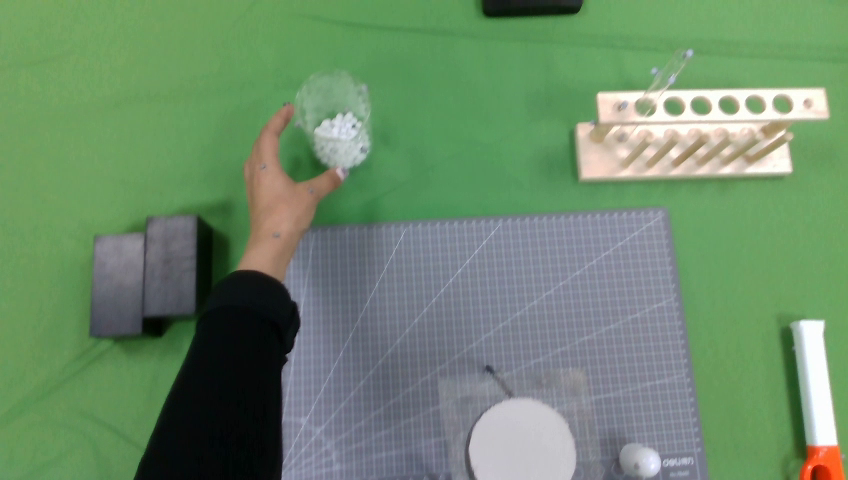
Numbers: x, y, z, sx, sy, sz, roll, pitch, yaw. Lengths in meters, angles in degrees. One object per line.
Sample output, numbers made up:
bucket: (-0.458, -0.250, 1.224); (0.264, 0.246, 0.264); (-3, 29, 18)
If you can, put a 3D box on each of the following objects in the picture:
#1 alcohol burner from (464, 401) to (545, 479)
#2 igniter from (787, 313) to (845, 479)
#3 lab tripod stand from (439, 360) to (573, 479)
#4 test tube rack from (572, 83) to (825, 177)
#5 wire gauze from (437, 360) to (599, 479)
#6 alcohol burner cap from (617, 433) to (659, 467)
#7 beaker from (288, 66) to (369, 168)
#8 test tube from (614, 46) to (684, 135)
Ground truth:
alcohol burner: (0.078, 0.187, 0.568); (0.078, 0.119, 0.077); (1, 75, -3)
igniter: (0.408, 0.213, 0.624); (0.057, 0.025, 0.275); (3, 77, -12)
lab tripod stand: (0.074, 0.181, 0.559); (0.148, 0.132, 0.147); (0, 76, -1)
test tube rack: (0.294, -0.118, 0.662); (0.242, 0.085, 0.066); (-2, 77, -3)
wire gauze: (0.079, 0.163, 0.494); (0.125, 0.011, 0.121); (-5, 76, -4)
alcohol burner cap: (0.216, 0.212, 0.605); (0.034, 0.048, 0.033); (0, 77, -1)
beaker: (-0.093, -0.122, 0.639); (0.074, 0.100, 0.083); (-34, 81, -9)
test tube: (0.223, -0.146, 0.614); (0.017, 0.151, 0.017); (1, 73, -2)
